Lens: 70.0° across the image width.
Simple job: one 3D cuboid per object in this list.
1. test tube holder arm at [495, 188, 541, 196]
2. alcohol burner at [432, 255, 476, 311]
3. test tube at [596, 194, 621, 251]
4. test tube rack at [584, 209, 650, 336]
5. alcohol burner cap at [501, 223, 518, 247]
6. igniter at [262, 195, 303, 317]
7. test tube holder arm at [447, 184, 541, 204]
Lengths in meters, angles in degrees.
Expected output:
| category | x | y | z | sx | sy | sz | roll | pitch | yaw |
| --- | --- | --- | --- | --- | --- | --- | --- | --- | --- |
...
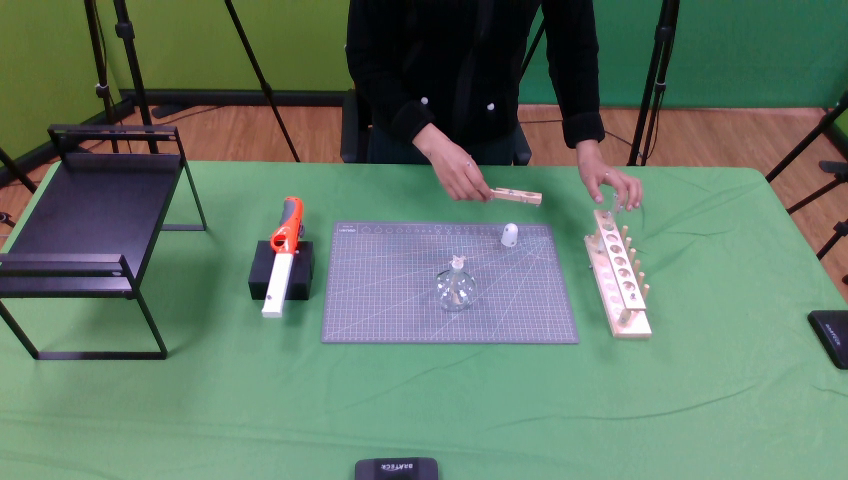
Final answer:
| category | x | y | z | sx | sy | sz | roll | pitch | yaw |
| --- | --- | --- | --- | --- | --- | --- | --- | --- | --- |
| test tube holder arm | 0.173 | -0.084 | 1.124 | 0.087 | 0.015 | 0.010 | 9 | 36 | 16 |
| alcohol burner | 0.055 | 0.070 | 1.068 | 0.078 | 0.119 | 0.077 | 3 | 45 | -3 |
| test tube | 0.346 | -0.029 | 1.141 | 0.017 | 0.151 | 0.017 | 0 | 50 | 0 |
| test tube rack | 0.365 | 0.056 | 1.129 | 0.067 | 0.085 | 0.240 | 1 | 46 | -3 |
| alcohol burner cap | 0.172 | -0.013 | 1.206 | 0.034 | 0.048 | 0.033 | 1 | 45 | -1 |
| igniter | -0.253 | 0.020 | 1.090 | 0.057 | 0.025 | 0.275 | 0 | 49 | -1 |
| test tube holder arm | 0.129 | -0.087 | 1.132 | 0.178 | 0.015 | 0.013 | 8 | 36 | 15 |
